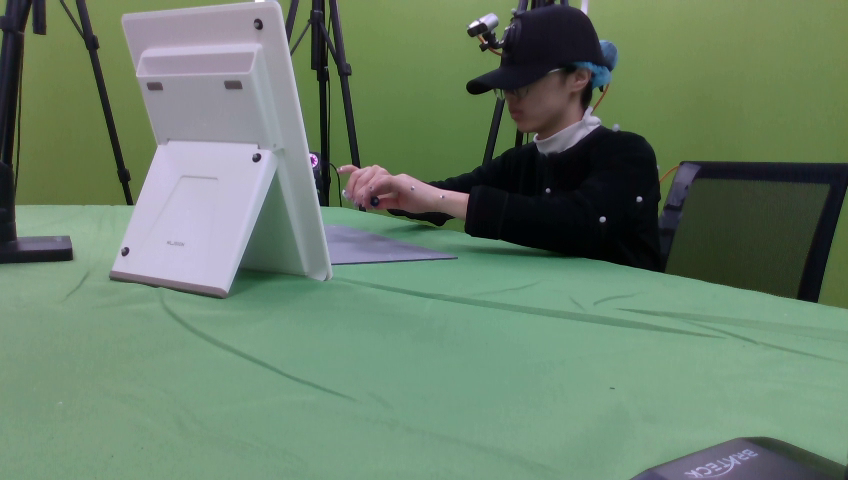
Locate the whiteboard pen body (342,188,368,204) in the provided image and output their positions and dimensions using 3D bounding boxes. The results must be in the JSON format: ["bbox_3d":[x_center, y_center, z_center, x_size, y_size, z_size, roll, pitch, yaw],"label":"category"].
[{"bbox_3d":[-0.117,-0.078,1.082,0.017,0.017,0.140,-2,11,-28],"label":"whiteboard pen body"}]

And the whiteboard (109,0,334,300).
[{"bbox_3d":[-0.247,-0.072,0.624,0.216,0.305,0.144,6,28,26],"label":"whiteboard"}]

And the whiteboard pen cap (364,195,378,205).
[{"bbox_3d":[-0.090,-0.070,1.031,0.018,0.018,0.033,-1,9,-24],"label":"whiteboard pen cap"}]
